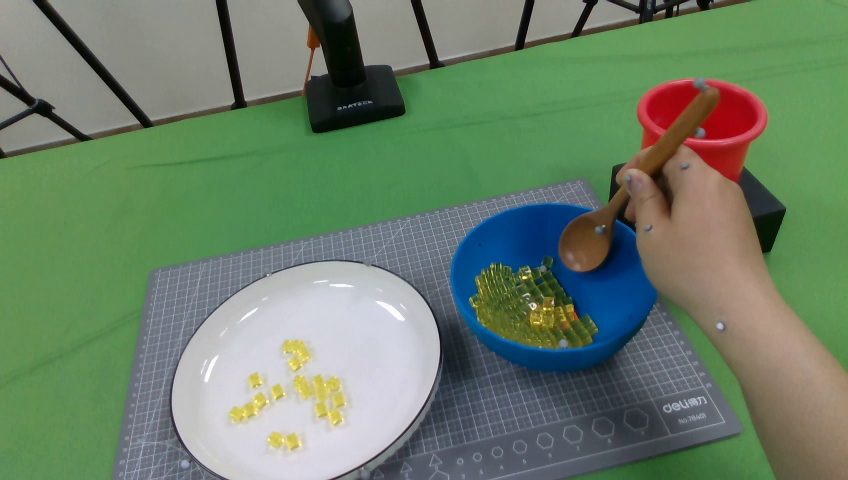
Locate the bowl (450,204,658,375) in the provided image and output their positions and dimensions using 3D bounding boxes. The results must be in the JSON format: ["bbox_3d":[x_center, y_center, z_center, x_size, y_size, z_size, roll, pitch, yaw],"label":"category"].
[{"bbox_3d":[0.098,0.050,0.470,0.151,0.077,0.150,-5,44,5],"label":"bowl"}]

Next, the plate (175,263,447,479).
[{"bbox_3d":[-0.084,0.104,0.475,0.207,0.039,0.205,-5,44,5],"label":"plate"}]

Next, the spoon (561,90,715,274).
[{"bbox_3d":[0.139,-0.030,0.416,0.021,0.195,0.041,-25,69,-21],"label":"spoon"}]
